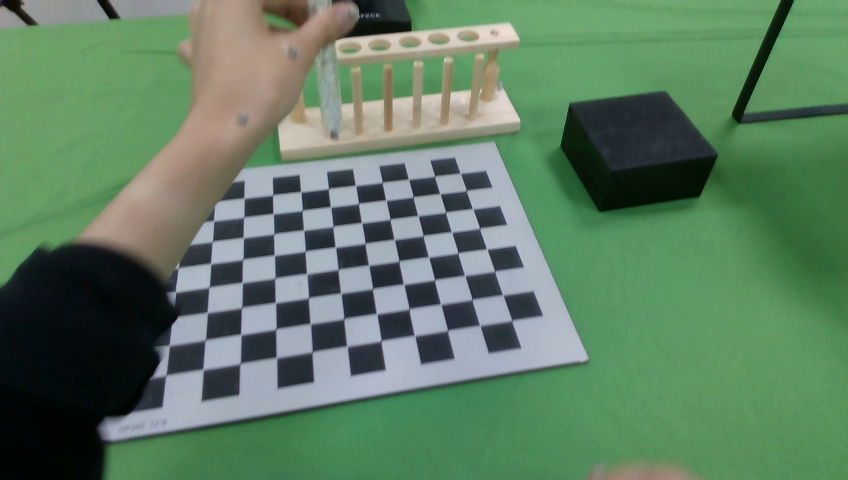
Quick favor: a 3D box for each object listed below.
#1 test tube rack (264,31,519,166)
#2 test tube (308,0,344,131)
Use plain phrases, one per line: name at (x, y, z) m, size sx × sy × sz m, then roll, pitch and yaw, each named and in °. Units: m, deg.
test tube rack at (-0.027, -0.141, 0.600) m, size 0.243 × 0.086 × 0.066 m, roll -9°, pitch 47°, yaw -9°
test tube at (-0.063, -0.130, 0.381) m, size 0.017 × 0.151 × 0.017 m, roll 1°, pitch 49°, yaw -1°
